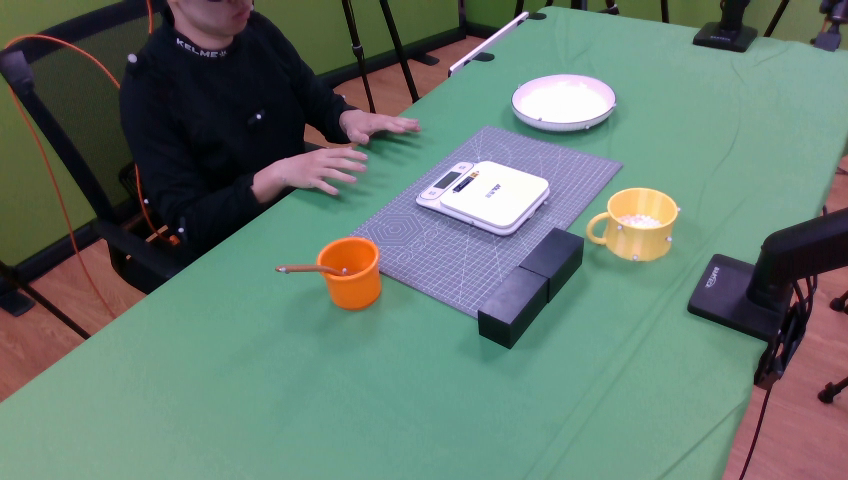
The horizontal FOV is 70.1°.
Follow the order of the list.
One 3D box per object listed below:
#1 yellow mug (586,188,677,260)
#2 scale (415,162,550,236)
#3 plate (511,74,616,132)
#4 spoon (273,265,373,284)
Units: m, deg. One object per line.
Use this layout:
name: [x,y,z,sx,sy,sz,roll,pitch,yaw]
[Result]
yellow mug: [0.311,-0.022,0.916,0.131,0.064,0.099,-8,40,0]
scale: [0.099,-0.079,1.035,0.199,0.032,0.149,23,48,31]
plate: [0.283,-0.276,1.238,0.209,0.038,0.208,-4,41,4]
spoon: [-0.136,0.045,0.839,0.041,0.195,0.021,18,91,33]
